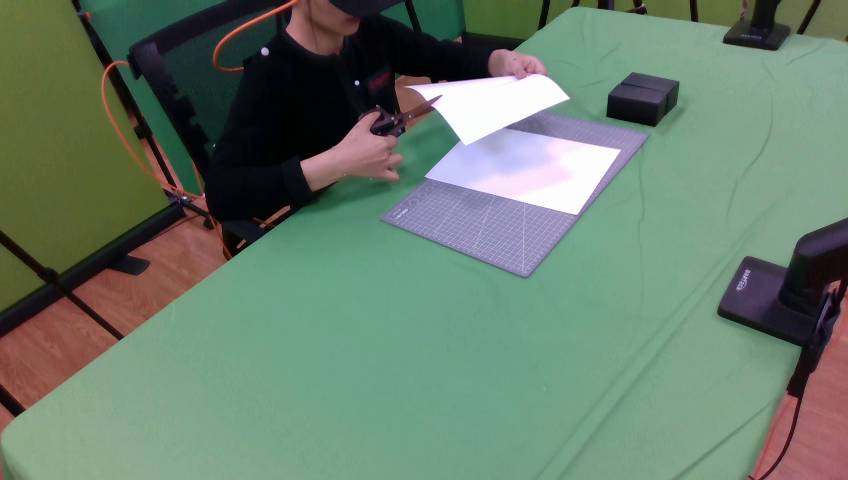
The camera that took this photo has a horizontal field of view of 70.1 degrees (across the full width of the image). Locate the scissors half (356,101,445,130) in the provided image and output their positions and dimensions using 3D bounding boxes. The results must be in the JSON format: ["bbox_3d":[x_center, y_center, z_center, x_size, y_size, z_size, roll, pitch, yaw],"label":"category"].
[{"bbox_3d":[-0.042,-0.236,1.113,0.176,0.040,0.012,-15,29,-18],"label":"scissors half"}]

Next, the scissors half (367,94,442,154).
[{"bbox_3d":[-0.034,-0.218,1.124,0.175,0.040,0.012,-41,29,-3],"label":"scissors half"}]
